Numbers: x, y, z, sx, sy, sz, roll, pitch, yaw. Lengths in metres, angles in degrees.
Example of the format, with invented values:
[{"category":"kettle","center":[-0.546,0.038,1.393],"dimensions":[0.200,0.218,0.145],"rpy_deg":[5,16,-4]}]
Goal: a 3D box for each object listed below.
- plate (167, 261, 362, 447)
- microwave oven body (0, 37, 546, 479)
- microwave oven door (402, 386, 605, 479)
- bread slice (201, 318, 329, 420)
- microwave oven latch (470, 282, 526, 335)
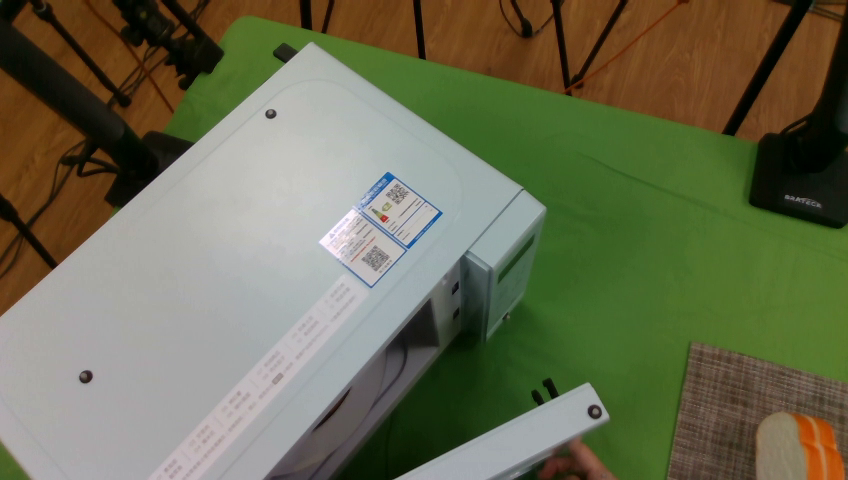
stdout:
[{"category":"plate","center":[-0.172,0.124,0.670],"dimensions":[0.208,0.039,0.206],"rpy_deg":[1,64,-1]},{"category":"microwave oven body","center":[-0.146,0.075,0.627],"dimensions":[0.324,0.262,0.441],"rpy_deg":[37,74,17]},{"category":"microwave oven door","center":[-0.020,0.237,0.543],"dimensions":[0.356,0.246,0.039],"rpy_deg":[-25,66,-7]},{"category":"bread slice","center":[-0.174,0.148,0.666],"dimensions":[0.134,0.018,0.106],"rpy_deg":[-8,63,-10]},{"category":"microwave oven latch","center":[0.088,0.073,0.719],"dimensions":[0.030,0.030,0.079],"rpy_deg":[39,75,18]}]
